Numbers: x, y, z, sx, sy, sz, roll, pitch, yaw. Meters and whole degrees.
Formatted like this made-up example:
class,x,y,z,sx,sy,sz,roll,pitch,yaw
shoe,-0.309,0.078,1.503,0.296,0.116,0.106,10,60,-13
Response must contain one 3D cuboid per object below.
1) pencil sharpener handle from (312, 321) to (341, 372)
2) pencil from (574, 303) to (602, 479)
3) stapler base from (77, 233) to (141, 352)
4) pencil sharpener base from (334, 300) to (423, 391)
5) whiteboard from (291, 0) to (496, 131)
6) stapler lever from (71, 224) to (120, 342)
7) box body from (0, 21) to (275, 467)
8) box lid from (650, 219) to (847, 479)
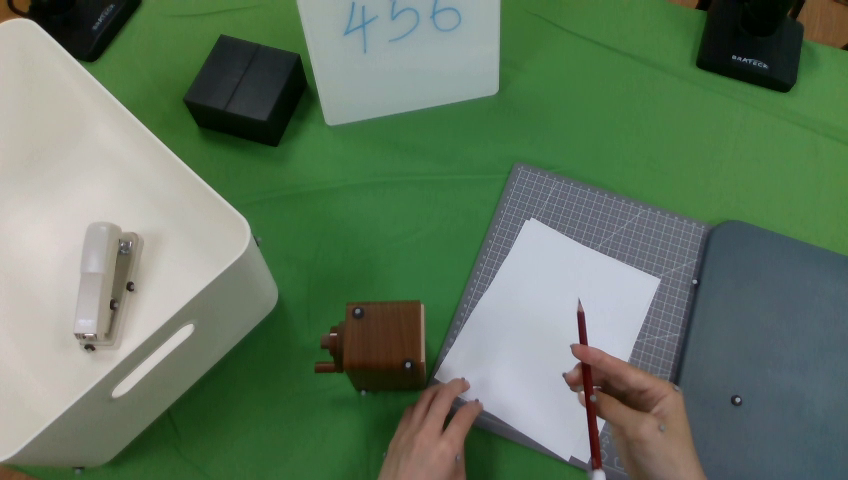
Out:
class,x,y,z,sx,sy,sz,roll,pitch,yaw
pencil sharpener handle,-0.091,0.101,0.549,0.030,0.068,0.035,-1,49,0
pencil,0.124,0.115,0.466,0.012,0.012,0.192,7,39,3
stapler base,-0.327,0.049,0.624,0.041,0.024,0.129,0,68,2
pencil sharpener base,-0.039,0.101,0.564,0.077,0.108,0.061,-1,66,0
whiteboard,-0.042,-0.306,0.673,0.217,0.308,0.142,-12,47,-5
stapler lever,-0.326,0.040,0.599,0.027,0.040,0.117,0,68,2
box body,-0.350,0.004,0.574,0.362,0.161,0.254,39,71,16
box lid,0.375,0.165,0.592,0.263,0.015,0.369,19,67,7
